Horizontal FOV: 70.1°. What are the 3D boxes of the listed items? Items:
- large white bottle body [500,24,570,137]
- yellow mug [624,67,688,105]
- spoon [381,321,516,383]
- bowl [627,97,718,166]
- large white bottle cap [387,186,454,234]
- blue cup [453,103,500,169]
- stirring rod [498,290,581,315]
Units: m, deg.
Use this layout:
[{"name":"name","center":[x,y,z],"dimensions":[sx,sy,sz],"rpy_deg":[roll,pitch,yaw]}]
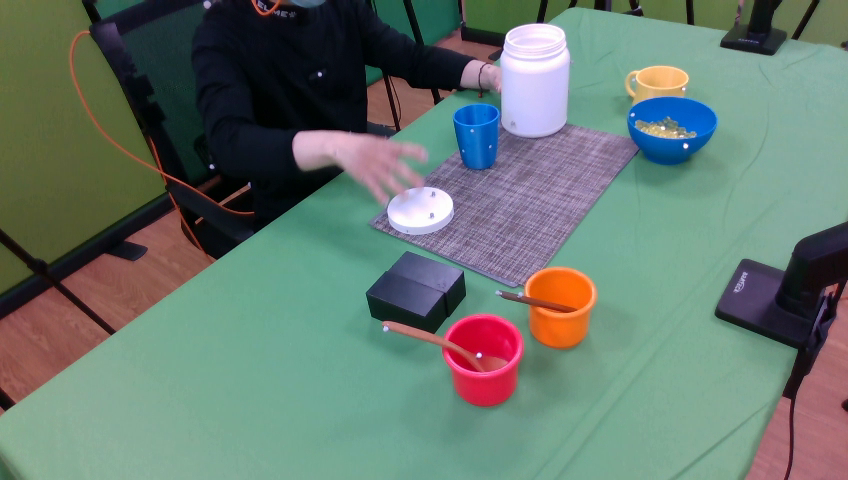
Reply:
[{"name":"large white bottle body","center":[0.214,-0.308,1.173],"dimensions":[0.130,0.185,0.130],"rpy_deg":[-4,41,4]},{"name":"yellow mug","center":[0.464,-0.305,1.230],"dimensions":[0.100,0.064,0.129],"rpy_deg":[-34,46,-27]},{"name":"spoon","center":[0.033,0.131,0.725],"dimensions":[0.195,0.021,0.041],"rpy_deg":[29,30,-26]},{"name":"bowl","center":[0.439,-0.187,1.087],"dimensions":[0.151,0.077,0.150],"rpy_deg":[-4,41,4]},{"name":"large white bottle cap","center":[-0.006,-0.052,1.036],"dimensions":[0.115,0.018,0.114],"rpy_deg":[-4,41,4]},{"name":"blue cup","center":[0.099,-0.188,1.114],"dimensions":[0.092,0.100,0.092],"rpy_deg":[-4,39,4]},{"name":"stirring rod","center":[0.151,0.081,0.772],"dimensions":[0.178,0.006,0.014],"rpy_deg":[16,19,-45]}]
